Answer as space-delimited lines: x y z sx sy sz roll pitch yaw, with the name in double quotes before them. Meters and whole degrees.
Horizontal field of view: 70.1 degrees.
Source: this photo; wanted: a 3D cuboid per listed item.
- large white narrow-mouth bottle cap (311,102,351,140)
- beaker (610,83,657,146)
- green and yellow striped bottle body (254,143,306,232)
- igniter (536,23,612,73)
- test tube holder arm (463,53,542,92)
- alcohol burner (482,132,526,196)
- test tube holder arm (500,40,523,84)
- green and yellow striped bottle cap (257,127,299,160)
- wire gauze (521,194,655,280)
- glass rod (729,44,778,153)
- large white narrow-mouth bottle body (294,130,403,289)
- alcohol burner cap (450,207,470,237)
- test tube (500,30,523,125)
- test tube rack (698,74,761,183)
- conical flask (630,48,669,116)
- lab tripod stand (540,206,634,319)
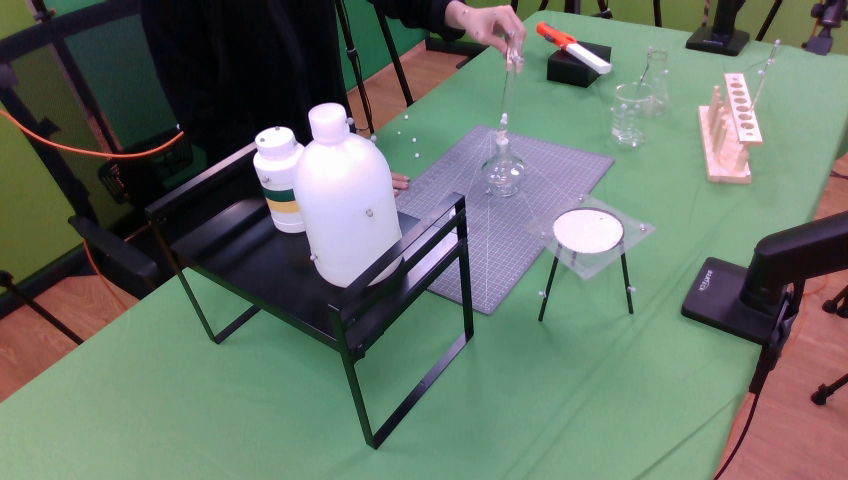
"large white narrow-mouth bottle cap" -0.089 -0.114 0.579 0.038 0.024 0.037 -4 39 3
"beaker" 0.388 -0.235 1.137 0.074 0.101 0.083 -31 45 -26
"green and yellow striped bottle body" -0.165 -0.073 0.732 0.063 0.120 0.063 -4 41 4
"igniter" 0.330 -0.439 1.366 0.057 0.025 0.274 -12 40 -20
"test tube holder arm" 0.126 -0.276 1.003 0.177 0.013 0.015 -6 58 52
"alcohol burner" 0.137 -0.136 1.042 0.078 0.119 0.077 -4 43 4
"test tube holder arm" 0.142 -0.284 0.967 0.010 0.088 0.015 13 68 32
"green and yellow striped bottle cap" -0.169 -0.112 0.699 0.045 0.020 0.045 -5 40 5
"wire gauze" 0.207 -0.012 0.772 0.122 0.011 0.124 -28 44 -20
"glass rod" 0.554 -0.233 1.020 0.008 0.200 0.008 2 39 -1
"large white narrow-mouth bottle body" -0.082 -0.047 0.634 0.102 0.195 0.101 -4 39 4
"alcohol burner cap" 0.057 -0.032 0.987 0.034 0.048 0.033 -5 41 4
"test tube" 0.138 -0.254 0.957 0.017 0.150 0.017 5 30 -2
"test tube rack" 0.547 -0.208 1.095 0.066 0.085 0.242 5 42 15
"conical flask" 0.457 -0.317 1.205 0.075 0.122 0.075 -4 40 4
"lab tripod stand" 0.218 0.034 0.821 0.148 0.132 0.147 -4 42 4
